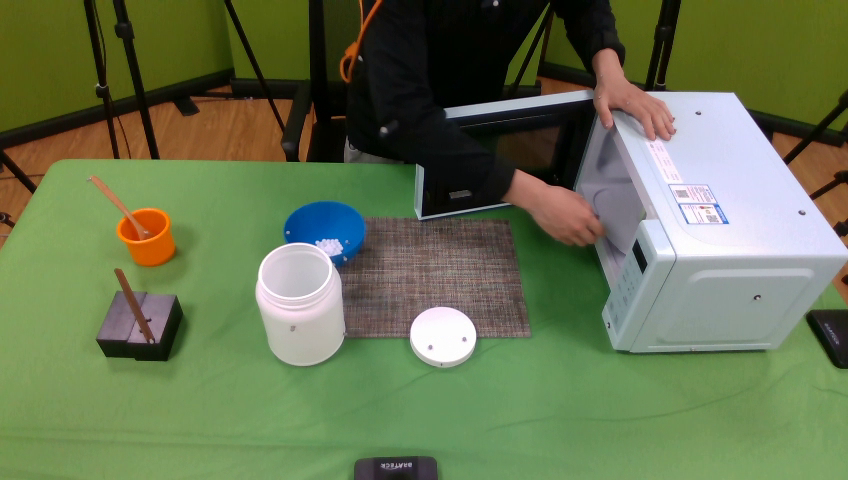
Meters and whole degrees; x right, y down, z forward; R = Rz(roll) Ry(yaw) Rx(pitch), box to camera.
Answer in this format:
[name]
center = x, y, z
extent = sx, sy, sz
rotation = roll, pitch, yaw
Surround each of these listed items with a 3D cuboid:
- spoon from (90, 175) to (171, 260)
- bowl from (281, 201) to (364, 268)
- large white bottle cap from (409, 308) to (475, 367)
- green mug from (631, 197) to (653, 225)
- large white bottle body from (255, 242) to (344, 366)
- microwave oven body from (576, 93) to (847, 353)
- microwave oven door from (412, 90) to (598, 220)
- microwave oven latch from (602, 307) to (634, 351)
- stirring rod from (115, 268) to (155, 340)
[spoon]
center = -0.538, -0.042, 1.111
extent = 0.021, 0.194, 0.041
rotation = -13, 27, 52
[bowl]
center = -0.187, 0.005, 1.138
extent = 0.151, 0.077, 0.150
rotation = 3, 46, -3
[large white bottle cap]
center = 0.031, 0.166, 1.041
extent = 0.115, 0.018, 0.114
rotation = 2, 47, -2
[green mug]
center = 0.456, -0.058, 1.156
extent = 0.125, 0.105, 0.092
rotation = -11, 45, -10
[large white bottle body]
center = -0.196, 0.102, 0.967
extent = 0.131, 0.185, 0.130
rotation = 2, 49, -2
[microwave oven body]
center = 0.475, -0.041, 1.110
extent = 0.326, 0.261, 0.438
rotation = -1, 45, -4
[microwave oven door]
center = 0.156, -0.166, 1.200
extent = 0.356, 0.245, 0.039
rotation = -10, 47, -14
[microwave oven latch]
center = 0.332, 0.153, 1.044
extent = 0.030, 0.029, 0.078
rotation = -1, 45, -4
[stirring rod]
center = -0.479, 0.103, 0.999
extent = 0.014, 0.006, 0.175
rotation = 7, 32, -49
